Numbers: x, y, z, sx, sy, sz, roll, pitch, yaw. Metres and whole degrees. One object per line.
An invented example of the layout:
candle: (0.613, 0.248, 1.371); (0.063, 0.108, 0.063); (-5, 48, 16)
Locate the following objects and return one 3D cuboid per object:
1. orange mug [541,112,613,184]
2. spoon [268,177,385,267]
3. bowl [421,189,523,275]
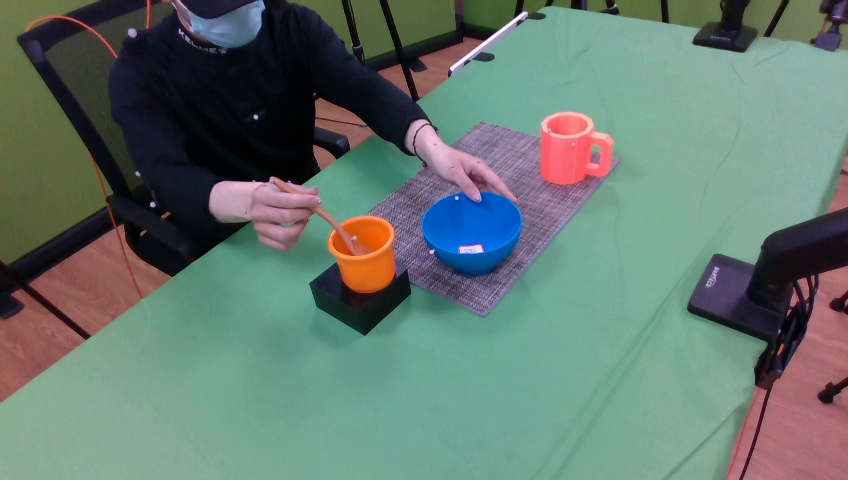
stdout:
orange mug: (0.263, -0.157, 1.050); (0.125, 0.101, 0.083); (14, 45, 29)
spoon: (-0.127, -0.024, 0.809); (0.021, 0.195, 0.041); (-40, 24, 17)
bowl: (0.073, -0.001, 0.910); (0.151, 0.077, 0.150); (-4, 41, 4)
